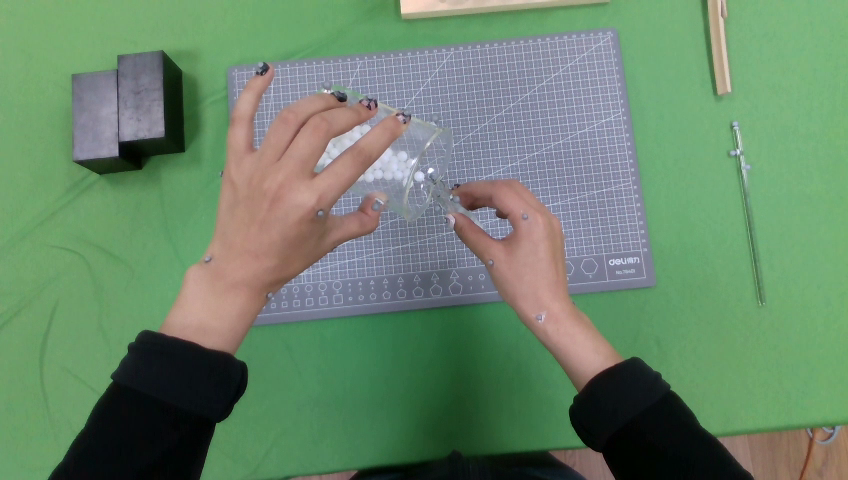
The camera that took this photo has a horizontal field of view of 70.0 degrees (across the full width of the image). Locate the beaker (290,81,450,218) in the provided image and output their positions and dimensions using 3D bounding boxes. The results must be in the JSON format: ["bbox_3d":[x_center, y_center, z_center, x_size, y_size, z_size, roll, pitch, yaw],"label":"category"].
[{"bbox_3d":[-0.040,-0.070,0.453,0.100,0.084,0.074,25,88,13],"label":"beaker"}]

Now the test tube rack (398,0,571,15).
[{"bbox_3d":[0.087,-0.311,0.670,0.242,0.085,0.066,-5,81,1],"label":"test tube rack"}]

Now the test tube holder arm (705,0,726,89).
[{"bbox_3d":[0.328,-0.258,0.686,0.013,0.015,0.178,5,81,-27],"label":"test tube holder arm"}]

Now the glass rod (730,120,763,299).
[{"bbox_3d":[0.350,-0.035,0.659,0.008,0.008,0.199,-4,81,1],"label":"glass rod"}]

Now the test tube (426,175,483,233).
[{"bbox_3d":[0.031,-0.029,0.549,0.017,0.151,0.017,-4,77,18],"label":"test tube"}]

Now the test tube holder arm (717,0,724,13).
[{"bbox_3d":[0.334,-0.302,0.695,0.010,0.015,0.087,5,80,-27],"label":"test tube holder arm"}]
